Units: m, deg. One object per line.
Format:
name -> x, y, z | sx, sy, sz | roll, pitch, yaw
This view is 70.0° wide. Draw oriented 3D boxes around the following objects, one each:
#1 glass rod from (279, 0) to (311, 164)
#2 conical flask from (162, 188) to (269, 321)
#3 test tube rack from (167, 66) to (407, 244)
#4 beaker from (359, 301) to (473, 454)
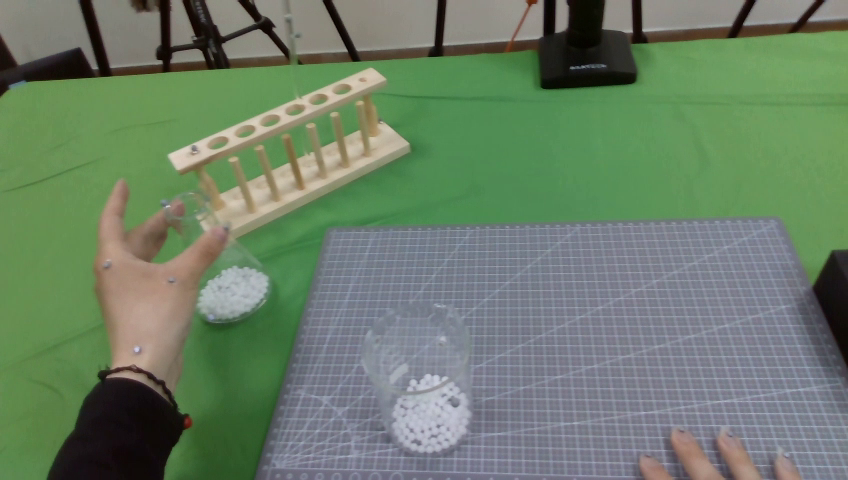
glass rod -> -0.136, -0.167, 0.641 | 0.008, 0.201, 0.008 | -1, 39, 1
conical flask -> -0.192, 0.010, 0.547 | 0.075, 0.123, 0.074 | -4, 46, 4
test tube rack -> -0.141, -0.098, 0.668 | 0.242, 0.086, 0.066 | -30, 49, -19
beaker -> 0.000, 0.102, 0.442 | 0.073, 0.101, 0.084 | 23, 53, 27
